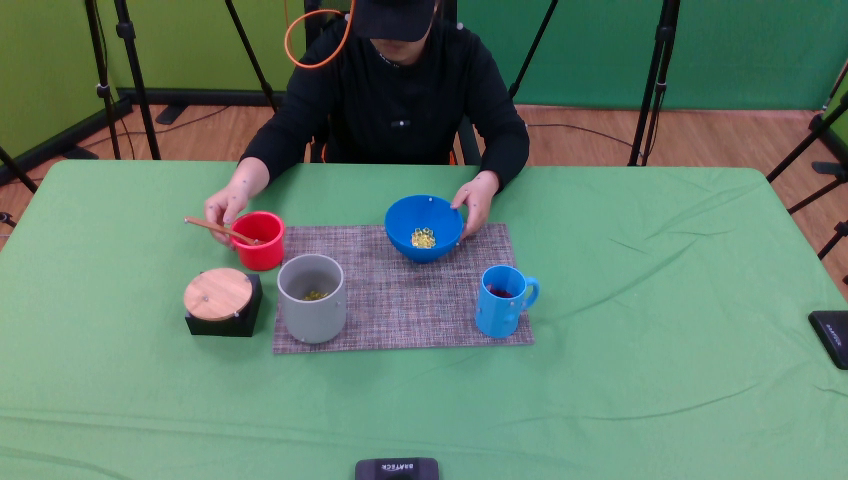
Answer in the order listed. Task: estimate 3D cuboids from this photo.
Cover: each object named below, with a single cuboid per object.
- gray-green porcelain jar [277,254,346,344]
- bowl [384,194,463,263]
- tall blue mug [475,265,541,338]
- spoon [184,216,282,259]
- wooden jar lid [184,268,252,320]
[{"bbox_3d":[-0.184,0.102,1.008,0.106,0.127,0.105,2,46,-2],"label":"gray-green porcelain jar"},{"bbox_3d":[-0.002,-0.010,1.164,0.151,0.077,0.150,2,46,-2],"label":"bowl"},{"bbox_3d":[0.142,0.098,1.047,0.077,0.108,0.107,33,53,27],"label":"tall blue mug"},{"bbox_3d":[-0.341,-0.008,1.096,0.021,0.195,0.041,-35,48,26],"label":"spoon"},{"bbox_3d":[-0.343,0.092,1.015,0.108,0.021,0.107,3,46,-3],"label":"wooden jar lid"}]
